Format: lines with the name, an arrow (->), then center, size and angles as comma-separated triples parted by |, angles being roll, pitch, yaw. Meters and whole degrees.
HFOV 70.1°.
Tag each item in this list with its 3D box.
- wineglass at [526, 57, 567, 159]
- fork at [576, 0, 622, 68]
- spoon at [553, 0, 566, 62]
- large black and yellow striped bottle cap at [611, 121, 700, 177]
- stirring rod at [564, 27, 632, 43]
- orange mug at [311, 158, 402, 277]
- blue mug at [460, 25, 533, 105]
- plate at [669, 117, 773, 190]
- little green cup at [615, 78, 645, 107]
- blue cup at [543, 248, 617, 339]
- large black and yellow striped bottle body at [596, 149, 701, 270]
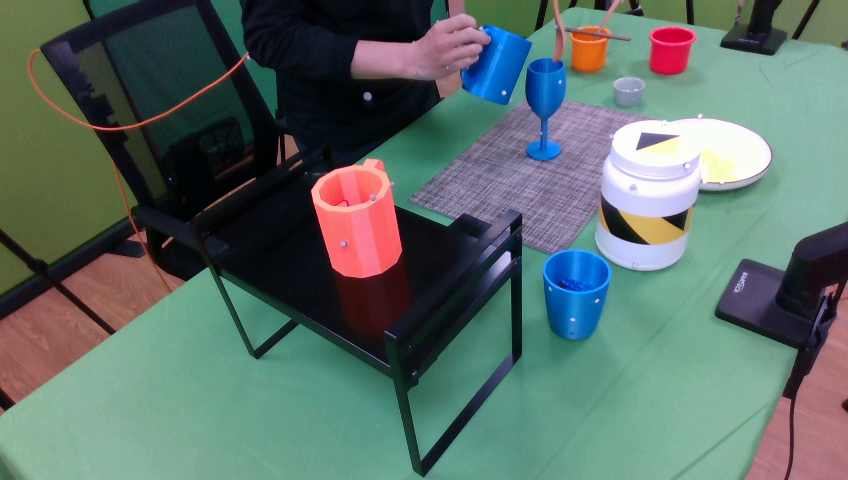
wineglass -> 0.221, -0.237, 1.097 | 0.074, 0.173, 0.073 | -4, 41, 4
fork -> 0.409, -0.484, 1.381 | 0.028, 0.019, 0.207 | 37, 101, 46
spoon -> 0.220, -0.395, 0.996 | 0.022, 0.194, 0.041 | -8, 17, -3
large black and yellow striped bottle cap -> 0.315, -0.126, 0.823 | 0.115, 0.019, 0.114 | -4, 42, 4
stirring rod -> 0.381, -0.462, 1.356 | 0.175, 0.006, 0.014 | 23, 48, 30
orange mug -> -0.070, -0.034, 0.694 | 0.083, 0.101, 0.126 | 5, 46, 16
blue mug -> 0.106, -0.286, 0.975 | 0.117, 0.106, 0.081 | 3, 27, -40
plate -> 0.495, -0.148, 1.063 | 0.209, 0.038, 0.208 | -5, 40, 4
little green cup -> 0.426, -0.306, 1.257 | 0.061, 0.039, 0.061 | -4, 40, 4
blue cup -> 0.199, 0.076, 0.797 | 0.092, 0.100, 0.092 | -4, 39, 4
large black and yellow striped bottle body -> 0.323, -0.062, 0.877 | 0.131, 0.185, 0.130 | -5, 40, 4
